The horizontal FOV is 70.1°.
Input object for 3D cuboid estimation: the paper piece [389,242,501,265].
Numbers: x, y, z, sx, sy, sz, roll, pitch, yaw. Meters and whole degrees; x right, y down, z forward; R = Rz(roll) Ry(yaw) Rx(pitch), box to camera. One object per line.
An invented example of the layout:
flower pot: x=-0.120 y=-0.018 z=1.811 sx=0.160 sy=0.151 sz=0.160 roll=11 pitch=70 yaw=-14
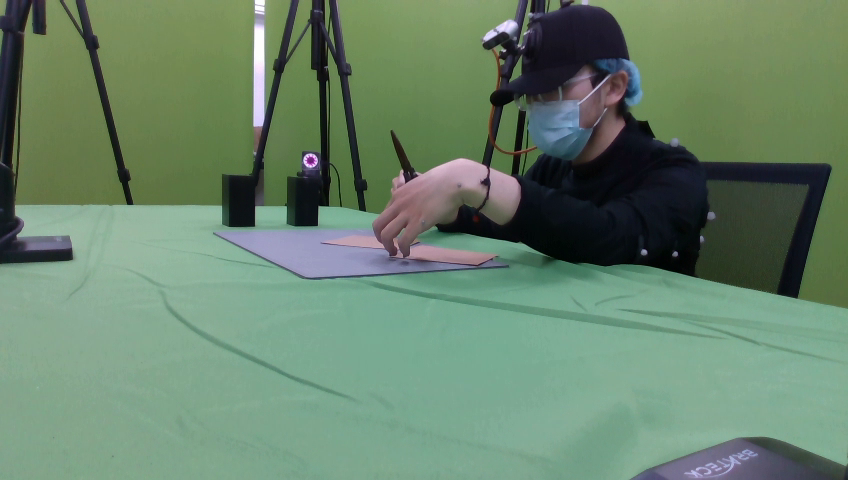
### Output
paper piece: x=0.035 y=0.021 z=0.905 sx=0.138 sy=0.008 sz=0.136 roll=5 pitch=11 yaw=19

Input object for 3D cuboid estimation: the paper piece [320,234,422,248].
paper piece: x=-0.084 y=-0.001 z=1.018 sx=0.135 sy=0.004 sz=0.136 roll=4 pitch=8 yaw=17

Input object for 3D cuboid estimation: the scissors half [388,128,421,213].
scissors half: x=-0.038 y=-0.117 z=1.040 sx=0.040 sy=0.175 sz=0.012 roll=-25 pitch=39 yaw=-15

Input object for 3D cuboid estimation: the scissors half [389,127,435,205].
scissors half: x=-0.021 y=-0.127 z=1.044 sx=0.040 sy=0.176 sz=0.013 roll=-41 pitch=43 yaw=-8
